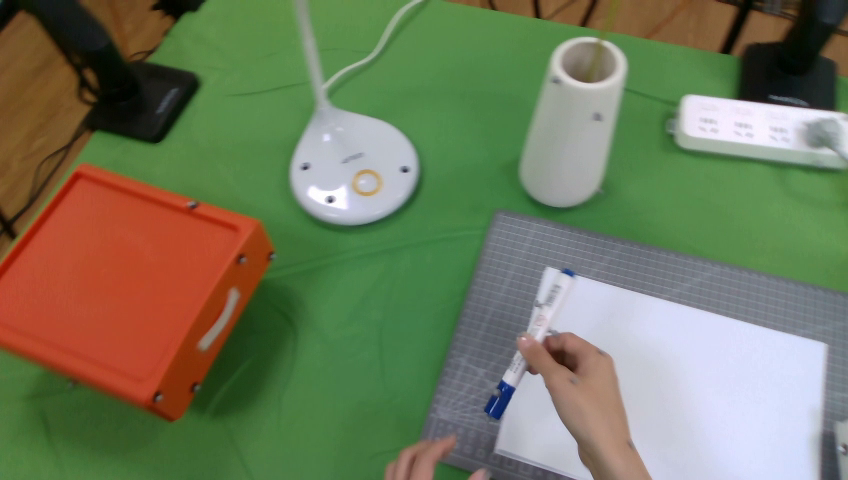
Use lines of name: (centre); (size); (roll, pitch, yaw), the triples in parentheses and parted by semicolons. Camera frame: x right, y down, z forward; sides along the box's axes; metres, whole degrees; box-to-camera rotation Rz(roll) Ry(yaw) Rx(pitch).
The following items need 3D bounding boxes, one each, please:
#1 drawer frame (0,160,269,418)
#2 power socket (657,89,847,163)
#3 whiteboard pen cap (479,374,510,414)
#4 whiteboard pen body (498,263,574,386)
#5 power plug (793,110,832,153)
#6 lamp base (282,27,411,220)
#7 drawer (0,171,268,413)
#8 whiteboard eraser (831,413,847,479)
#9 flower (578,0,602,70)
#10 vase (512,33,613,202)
drawer frame: (-0.302, 0.043, 0.609); (0.213, 0.083, 0.200); (18, 64, 9)
power socket: (0.413, -0.144, 0.759); (0.226, 0.033, 0.071); (9, 63, 7)
whiteboard pen cap: (0.063, 0.134, 0.530); (0.018, 0.018, 0.033); (28, 85, 17)
whiteboard pen body: (0.093, 0.083, 0.532); (0.017, 0.017, 0.140); (29, 87, 17)
power plug: (0.456, -0.123, 0.718); (0.035, 0.053, 0.072); (18, 65, 13)
lamp base: (-0.108, -0.140, 0.694); (0.160, 0.182, 0.177); (-35, 62, -16)
drawer: (-0.296, 0.043, 0.607); (0.211, 0.074, 0.193); (17, 64, 11)
whiteboard eraser: (0.407, 0.218, 0.551); (0.055, 0.042, 0.112); (10, 62, 6)
flower: (0.158, -0.182, 0.601); (0.038, 0.364, 0.043); (4, 43, -3)
vase: (0.150, -0.128, 0.666); (0.098, 0.202, 0.097); (-2, 60, 3)
